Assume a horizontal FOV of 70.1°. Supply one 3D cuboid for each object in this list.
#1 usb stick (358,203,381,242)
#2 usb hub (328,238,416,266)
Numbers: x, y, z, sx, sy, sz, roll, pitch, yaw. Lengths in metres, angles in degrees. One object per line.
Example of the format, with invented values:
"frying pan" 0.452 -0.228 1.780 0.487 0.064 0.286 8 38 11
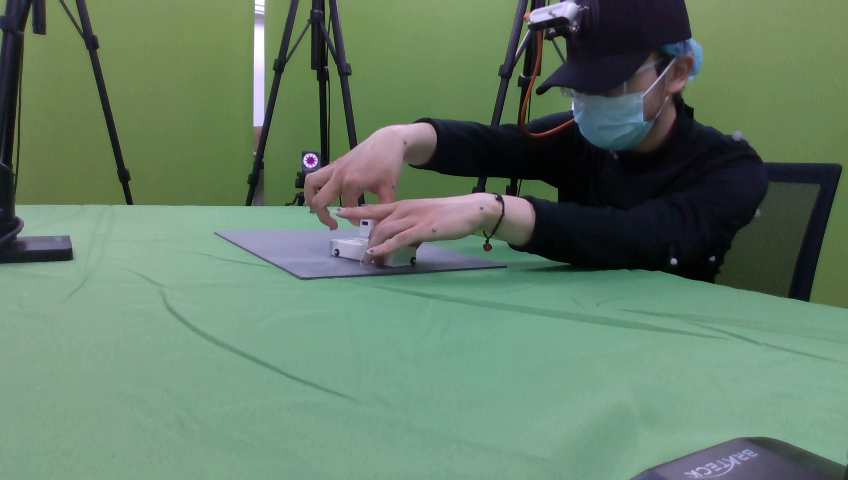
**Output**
"usb stick" -0.075 -0.021 0.839 0.021 0.059 0.027 8 11 33
"usb hub" -0.074 0.015 0.834 0.124 0.025 0.050 7 8 39
